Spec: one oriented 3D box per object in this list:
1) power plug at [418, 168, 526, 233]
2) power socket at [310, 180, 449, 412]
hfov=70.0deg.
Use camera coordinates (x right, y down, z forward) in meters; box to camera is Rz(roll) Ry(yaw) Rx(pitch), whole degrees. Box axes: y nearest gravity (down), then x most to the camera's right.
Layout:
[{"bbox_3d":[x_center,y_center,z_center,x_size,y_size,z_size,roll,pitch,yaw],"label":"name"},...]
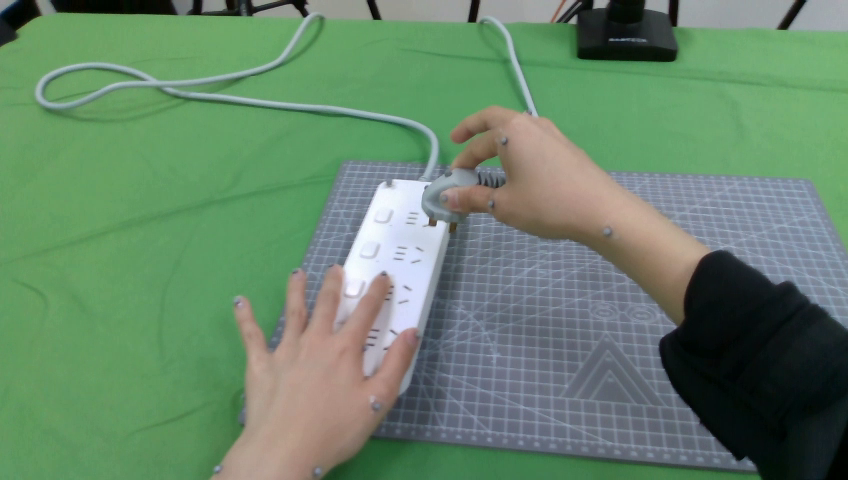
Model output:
[{"bbox_3d":[0.032,-0.024,0.432,0.072,0.053,0.035,12,46,4],"label":"power plug"},{"bbox_3d":[-0.025,0.028,0.479,0.072,0.033,0.225,7,44,9],"label":"power socket"}]
